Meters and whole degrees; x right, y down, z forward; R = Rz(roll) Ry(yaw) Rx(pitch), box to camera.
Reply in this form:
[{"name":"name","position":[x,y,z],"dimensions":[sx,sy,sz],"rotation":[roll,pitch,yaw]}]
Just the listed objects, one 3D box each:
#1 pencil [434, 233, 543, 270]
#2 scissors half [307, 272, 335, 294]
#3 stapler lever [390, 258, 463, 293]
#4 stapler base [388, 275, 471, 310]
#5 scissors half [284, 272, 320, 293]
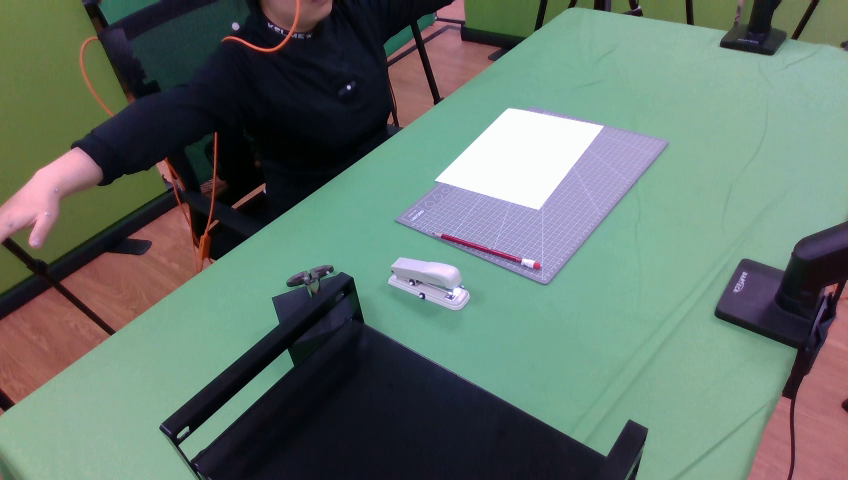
[{"name":"pencil","position":[0.096,0.015,0.949],"dimensions":[0.192,0.012,0.012],"rotation":[18,46,29]},{"name":"scissors half","position":[-0.152,0.062,0.872],"dimensions":[0.040,0.013,0.175],"rotation":[-2,5,-4]},{"name":"stapler lever","position":[0.002,0.046,0.881],"dimensions":[0.117,0.040,0.027],"rotation":[17,44,29]},{"name":"stapler base","position":[0.007,0.066,0.897],"dimensions":[0.129,0.024,0.041],"rotation":[17,44,29]},{"name":"scissors half","position":[-0.171,0.063,0.868],"dimensions":[0.040,0.013,0.174],"rotation":[-9,7,-22]}]
